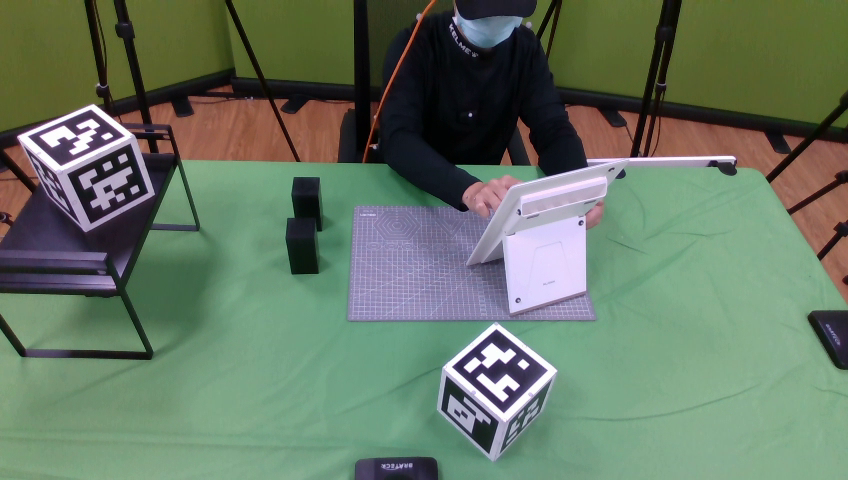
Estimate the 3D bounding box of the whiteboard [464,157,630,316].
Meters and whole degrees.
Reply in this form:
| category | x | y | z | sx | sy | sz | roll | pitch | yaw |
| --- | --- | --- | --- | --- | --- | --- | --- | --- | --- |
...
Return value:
| category | x | y | z | sx | sy | sz | roll | pitch | yaw |
| --- | --- | --- | --- | --- | --- | --- | --- | --- | --- |
| whiteboard | 0.224 | 0.015 | 1.042 | 0.217 | 0.306 | 0.143 | -13 | 68 | -17 |

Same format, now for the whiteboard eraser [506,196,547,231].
| category | x | y | z | sx | sy | sz | roll | pitch | yaw |
| --- | --- | --- | --- | --- | --- | --- | --- | --- | --- |
| whiteboard eraser | 0.179 | -0.047 | 1.064 | 0.041 | 0.101 | 0.018 | -9 | 68 | -29 |
